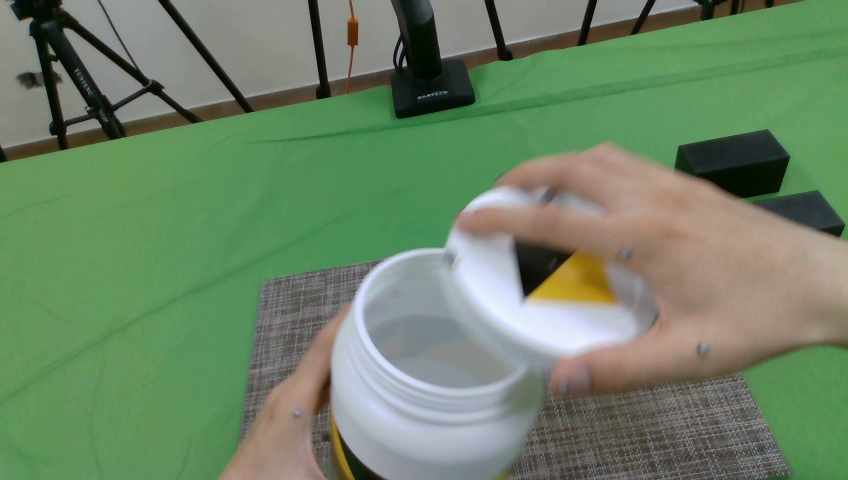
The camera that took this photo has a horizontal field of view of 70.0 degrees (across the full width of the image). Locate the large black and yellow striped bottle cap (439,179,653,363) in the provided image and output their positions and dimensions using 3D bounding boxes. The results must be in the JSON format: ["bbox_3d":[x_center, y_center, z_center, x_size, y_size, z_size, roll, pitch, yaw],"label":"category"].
[{"bbox_3d":[0.065,0.011,0.322,0.115,0.019,0.114,8,47,-9],"label":"large black and yellow striped bottle cap"}]

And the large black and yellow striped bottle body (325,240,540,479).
[{"bbox_3d":[0.001,0.102,0.402,0.131,0.185,0.129,6,43,-5],"label":"large black and yellow striped bottle body"}]
